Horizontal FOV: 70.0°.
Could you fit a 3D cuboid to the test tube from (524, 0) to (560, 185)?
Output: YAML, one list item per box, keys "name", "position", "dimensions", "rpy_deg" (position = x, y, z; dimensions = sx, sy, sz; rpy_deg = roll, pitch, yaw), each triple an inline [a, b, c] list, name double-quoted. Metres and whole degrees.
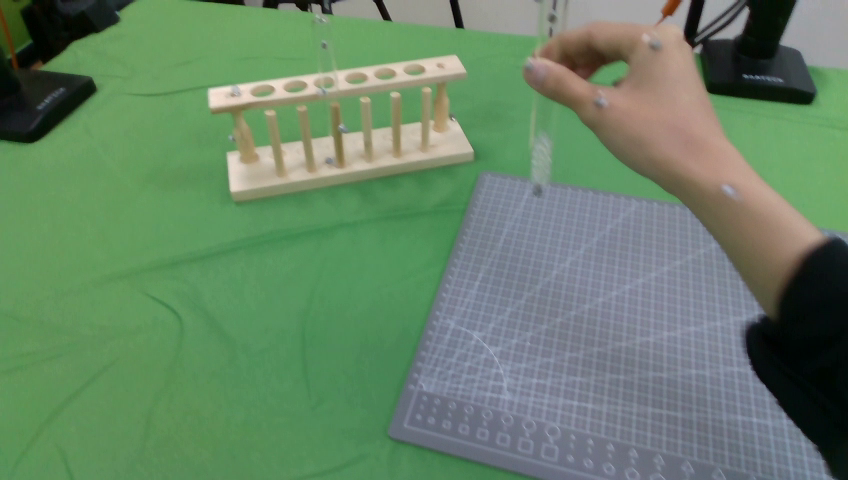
- name: "test tube"
  position: [0.071, -0.098, 0.369]
  dimensions: [0.017, 0.151, 0.017]
  rpy_deg: [-3, 40, 3]

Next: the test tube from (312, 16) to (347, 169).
- name: "test tube"
  position: [-0.085, -0.129, 0.552]
  dimensions: [0.017, 0.152, 0.017]
  rpy_deg: [0, 43, 1]

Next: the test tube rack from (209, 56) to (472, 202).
- name: "test tube rack"
  position: [-0.076, -0.111, 0.597]
  dimensions: [0.243, 0.086, 0.066]
  rpy_deg: [-11, 46, -11]
